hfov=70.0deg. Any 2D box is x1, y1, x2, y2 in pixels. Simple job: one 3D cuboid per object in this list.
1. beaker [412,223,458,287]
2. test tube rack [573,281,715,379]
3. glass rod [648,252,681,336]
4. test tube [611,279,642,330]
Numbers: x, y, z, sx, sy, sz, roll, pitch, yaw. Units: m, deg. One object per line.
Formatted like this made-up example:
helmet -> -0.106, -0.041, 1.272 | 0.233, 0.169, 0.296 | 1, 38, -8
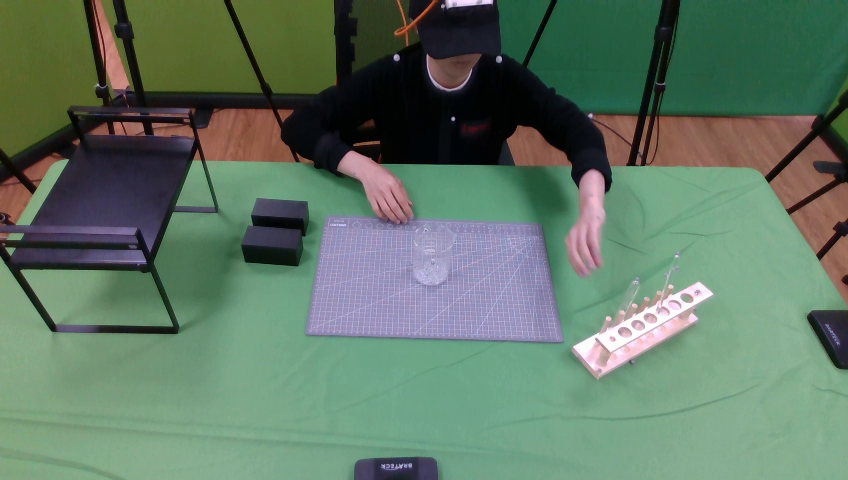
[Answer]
beaker -> 0.018, 0.030, 1.109 | 0.084, 0.101, 0.073 | -10, 48, -14
test tube rack -> 0.378, 0.140, 1.038 | 0.242, 0.085, 0.066 | -22, 51, -23
glass rod -> 0.392, 0.093, 0.992 | 0.008, 0.201, 0.008 | -1, 43, 1
test tube -> 0.332, 0.113, 0.999 | 0.017, 0.151, 0.017 | 1, 48, -1
